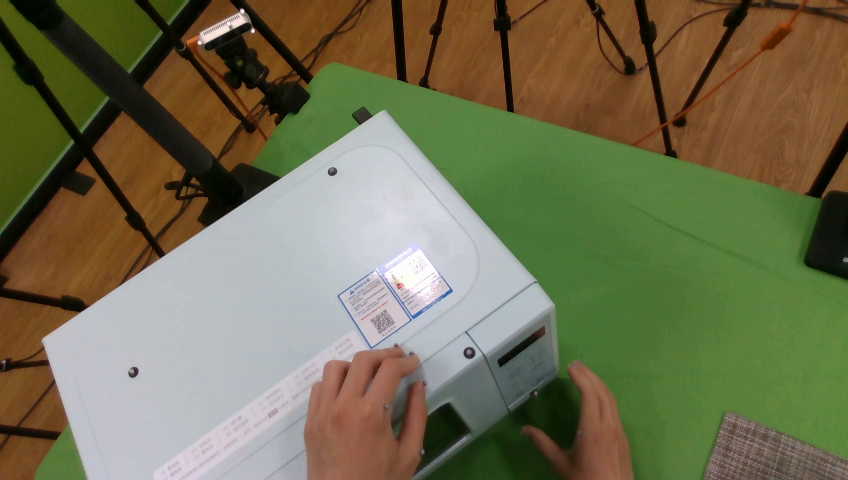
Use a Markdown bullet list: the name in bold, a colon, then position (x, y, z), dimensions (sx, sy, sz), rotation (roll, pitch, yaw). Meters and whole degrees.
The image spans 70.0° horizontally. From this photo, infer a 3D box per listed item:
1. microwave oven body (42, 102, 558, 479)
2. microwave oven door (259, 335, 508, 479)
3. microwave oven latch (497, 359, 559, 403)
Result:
- **microwave oven body**: position (-0.121, 0.117, 0.692), dimensions (0.441, 0.262, 0.323), rotation (-36, 62, -5)
- **microwave oven door**: position (-0.077, 0.239, 0.614), dimensions (0.356, 0.246, 0.039), rotation (-35, 60, -6)
- **microwave oven latch**: position (0.124, 0.160, 0.724), dimensions (0.079, 0.030, 0.030), rotation (-34, 62, -4)
